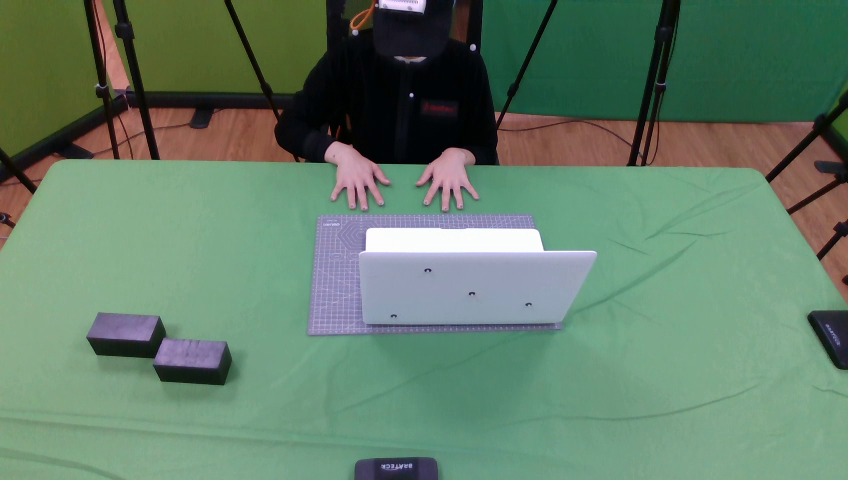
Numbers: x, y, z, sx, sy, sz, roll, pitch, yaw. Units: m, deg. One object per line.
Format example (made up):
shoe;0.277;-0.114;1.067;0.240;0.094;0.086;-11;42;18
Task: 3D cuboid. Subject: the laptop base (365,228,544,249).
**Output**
laptop base;0.064;0.063;1.143;0.355;0.023;0.234;0;42;-4

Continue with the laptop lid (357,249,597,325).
laptop lid;0.075;0.080;0.962;0.357;0.243;0.013;1;56;-5
